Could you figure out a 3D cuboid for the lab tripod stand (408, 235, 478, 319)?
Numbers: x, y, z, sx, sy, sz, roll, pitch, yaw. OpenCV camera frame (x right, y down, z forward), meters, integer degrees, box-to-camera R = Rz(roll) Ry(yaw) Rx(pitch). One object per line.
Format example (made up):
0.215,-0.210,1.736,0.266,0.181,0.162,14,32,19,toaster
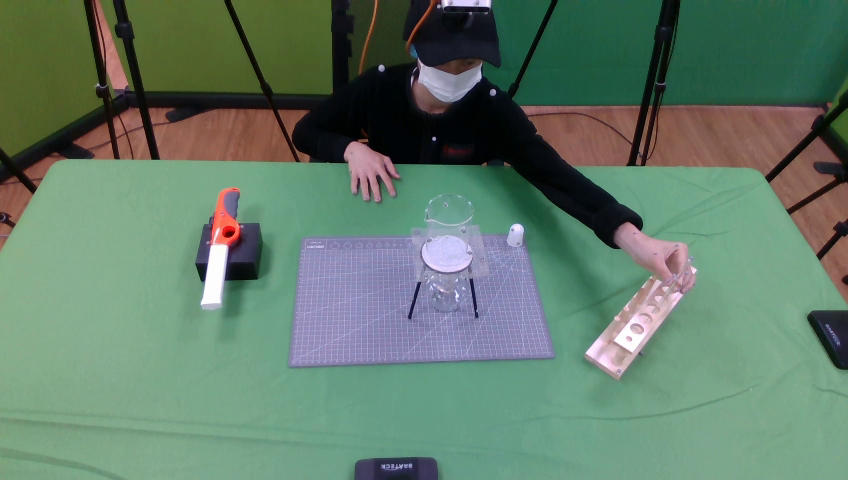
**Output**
0.032,0.065,1.057,0.148,0.132,0.147,1,45,-1,lab tripod stand

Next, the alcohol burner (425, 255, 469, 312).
0.041,0.072,1.065,0.078,0.120,0.077,1,46,-1,alcohol burner

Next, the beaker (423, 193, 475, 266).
0.036,-0.013,0.973,0.084,0.101,0.073,-18,48,-20,beaker

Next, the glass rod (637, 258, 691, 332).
0.394,0.095,1.001,0.008,0.200,0.008,5,48,-5,glass rod

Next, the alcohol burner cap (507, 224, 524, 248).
0.184,-0.010,1.206,0.034,0.048,0.033,0,45,0,alcohol burner cap

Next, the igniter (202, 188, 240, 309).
-0.366,0.006,1.095,0.057,0.025,0.274,-1,50,-7,igniter

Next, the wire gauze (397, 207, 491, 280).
0.032,0.006,1.001,0.125,0.011,0.120,-20,52,-16,wire gauze

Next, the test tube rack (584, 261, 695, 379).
0.380,0.127,1.062,0.066,0.085,0.242,34,53,26,test tube rack
